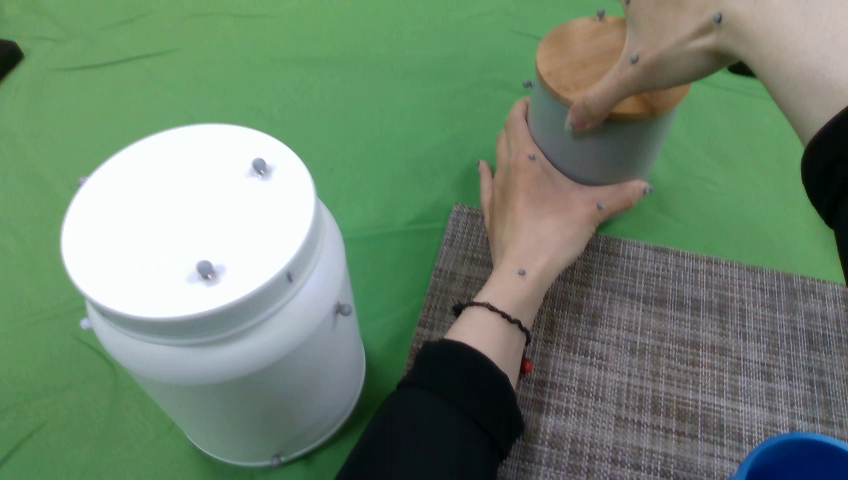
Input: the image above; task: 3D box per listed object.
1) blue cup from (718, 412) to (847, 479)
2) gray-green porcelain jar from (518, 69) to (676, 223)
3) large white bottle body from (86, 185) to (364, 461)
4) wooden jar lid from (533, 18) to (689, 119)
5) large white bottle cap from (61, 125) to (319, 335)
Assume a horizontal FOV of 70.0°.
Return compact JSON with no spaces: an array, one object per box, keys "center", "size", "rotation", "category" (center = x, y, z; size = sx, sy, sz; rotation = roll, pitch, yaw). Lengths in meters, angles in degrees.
[{"center":[0.188,0.157,0.320],"size":[0.092,0.101,0.091],"rotation":[0,52,1],"category":"blue cup"},{"center":[0.131,-0.084,0.482],"size":[0.106,0.127,0.105],"rotation":[0,55,0],"category":"gray-green porcelain jar"},{"center":[-0.107,0.040,0.355],"size":[0.130,0.186,0.129],"rotation":[0,54,0],"category":"large white bottle body"},{"center":[0.131,-0.120,0.431],"size":[0.108,0.021,0.107],"rotation":[2,52,-2],"category":"wooden jar lid"},{"center":[-0.108,-0.009,0.285],"size":[0.115,0.018,0.113],"rotation":[0,54,0],"category":"large white bottle cap"}]
